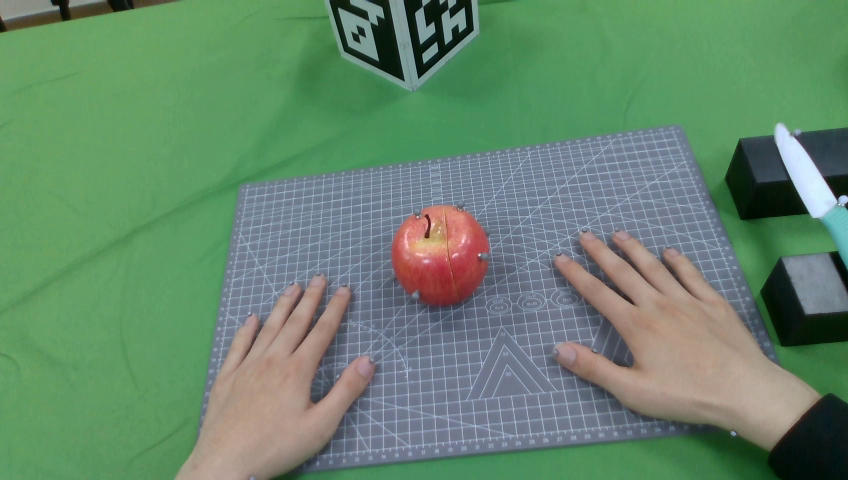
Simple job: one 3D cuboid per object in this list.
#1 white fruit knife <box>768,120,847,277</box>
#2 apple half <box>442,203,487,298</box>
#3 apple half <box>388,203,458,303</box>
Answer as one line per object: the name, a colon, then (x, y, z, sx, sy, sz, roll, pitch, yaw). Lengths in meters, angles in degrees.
white fruit knife: (0.305, -0.021, 0.457, 0.027, 0.016, 0.205, -12, 53, 11)
apple half: (0.037, 0.008, 0.501, 0.033, 0.082, 0.080, -10, 53, 8)
apple half: (-0.002, 0.014, 0.504, 0.053, 0.075, 0.080, -10, 58, 8)
